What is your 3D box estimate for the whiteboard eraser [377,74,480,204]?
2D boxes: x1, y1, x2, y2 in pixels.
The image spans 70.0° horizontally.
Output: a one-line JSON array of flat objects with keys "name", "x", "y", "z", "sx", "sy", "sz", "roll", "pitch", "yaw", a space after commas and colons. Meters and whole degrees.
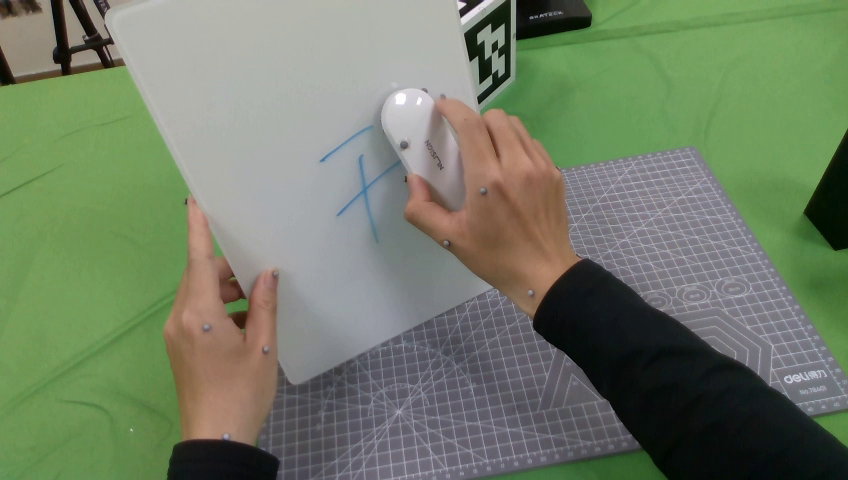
[{"name": "whiteboard eraser", "x": 0.004, "y": -0.071, "z": 0.436, "sx": 0.041, "sy": 0.102, "sz": 0.018, "roll": -38, "pitch": 18, "yaw": -12}]

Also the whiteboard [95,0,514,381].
[{"name": "whiteboard", "x": -0.078, "y": -0.082, "z": 0.496, "sx": 0.217, "sy": 0.308, "sz": 0.142, "roll": -25, "pitch": 33, "yaw": -13}]
